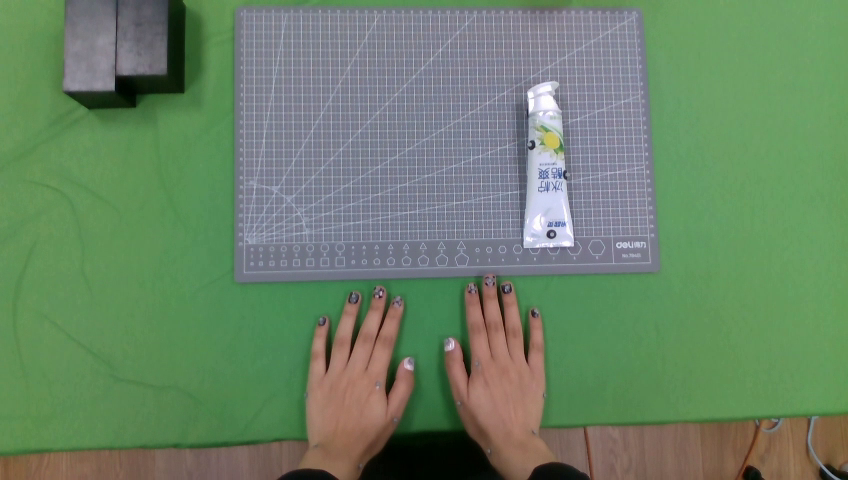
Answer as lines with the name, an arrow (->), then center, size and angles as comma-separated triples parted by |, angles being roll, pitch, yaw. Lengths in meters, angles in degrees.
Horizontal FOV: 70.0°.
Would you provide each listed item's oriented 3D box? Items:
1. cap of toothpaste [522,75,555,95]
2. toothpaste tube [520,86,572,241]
cap of toothpaste -> 0.123, -0.164, 0.647 | 0.037, 0.037, 0.011 | -14, 82, -5
toothpaste tube -> 0.126, -0.083, 0.645 | 0.055, 0.034, 0.165 | -3, 88, 3
